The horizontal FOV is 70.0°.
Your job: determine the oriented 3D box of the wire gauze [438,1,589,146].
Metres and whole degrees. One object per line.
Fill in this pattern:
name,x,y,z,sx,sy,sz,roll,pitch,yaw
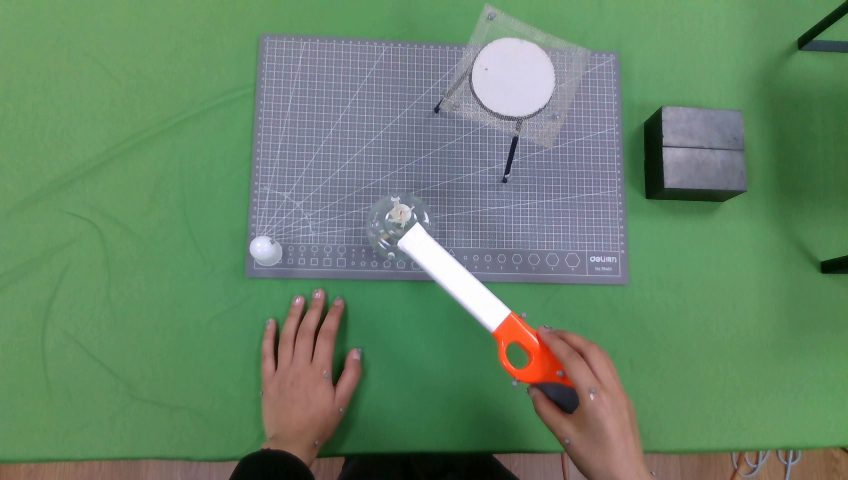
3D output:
wire gauze,0.093,-0.169,0.614,0.121,0.011,0.124,24,78,-1

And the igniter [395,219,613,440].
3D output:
igniter,0.079,0.085,0.589,0.276,0.025,0.057,44,78,4

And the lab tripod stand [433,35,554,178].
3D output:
lab tripod stand,0.087,-0.160,0.680,0.148,0.132,0.147,1,78,-4

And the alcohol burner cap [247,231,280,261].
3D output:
alcohol burner cap,-0.181,0.005,0.676,0.034,0.048,0.033,1,80,-5

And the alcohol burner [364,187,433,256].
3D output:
alcohol burner,-0.027,-0.023,0.658,0.078,0.119,0.077,1,81,-5
